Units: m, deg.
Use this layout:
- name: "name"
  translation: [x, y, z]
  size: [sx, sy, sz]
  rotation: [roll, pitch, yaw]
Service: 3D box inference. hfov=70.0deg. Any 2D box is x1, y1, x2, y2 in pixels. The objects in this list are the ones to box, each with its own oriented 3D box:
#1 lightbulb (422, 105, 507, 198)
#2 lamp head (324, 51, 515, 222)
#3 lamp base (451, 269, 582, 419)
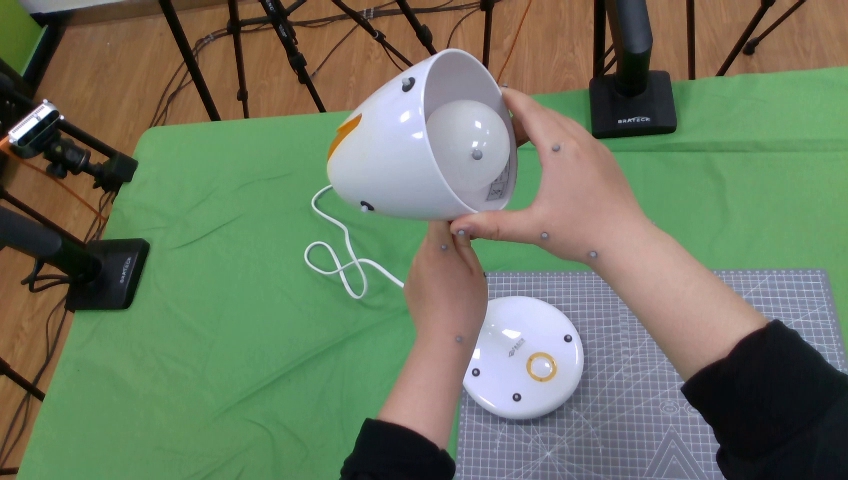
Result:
- name: "lightbulb"
  translation: [0.007, -0.052, 0.414]
  size: [0.107, 0.060, 0.059]
  rotation: [-17, 53, 41]
- name: "lamp head"
  translation: [-0.009, -0.060, 0.434]
  size: [0.122, 0.113, 0.111]
  rotation: [-14, 53, 42]
- name: "lamp base"
  translation: [0.091, 0.105, 0.707]
  size: [0.178, 0.182, 0.160]
  rotation: [23, 68, 27]
